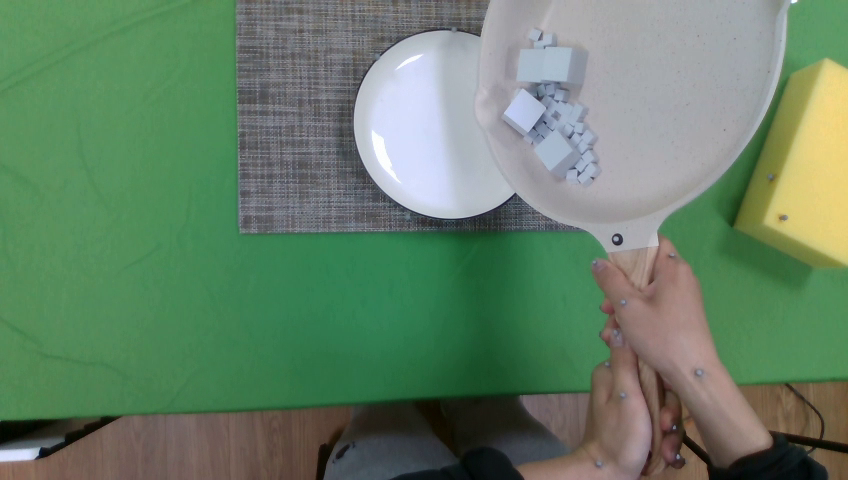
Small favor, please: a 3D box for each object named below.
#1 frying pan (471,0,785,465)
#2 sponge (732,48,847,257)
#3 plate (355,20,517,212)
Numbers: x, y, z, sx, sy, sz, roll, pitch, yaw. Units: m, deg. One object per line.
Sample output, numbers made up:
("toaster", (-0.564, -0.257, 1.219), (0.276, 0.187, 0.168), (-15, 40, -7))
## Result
("frying pan", (0.171, -0.060, 0.519), (0.103, 0.305, 0.486), (4, 82, -38))
("sponge", (0.461, -0.097, 0.705), (0.118, 0.061, 0.206), (23, 87, -5))
("plate", (0.029, -0.133, 0.663), (0.208, 0.039, 0.207), (0, 89, -6))
